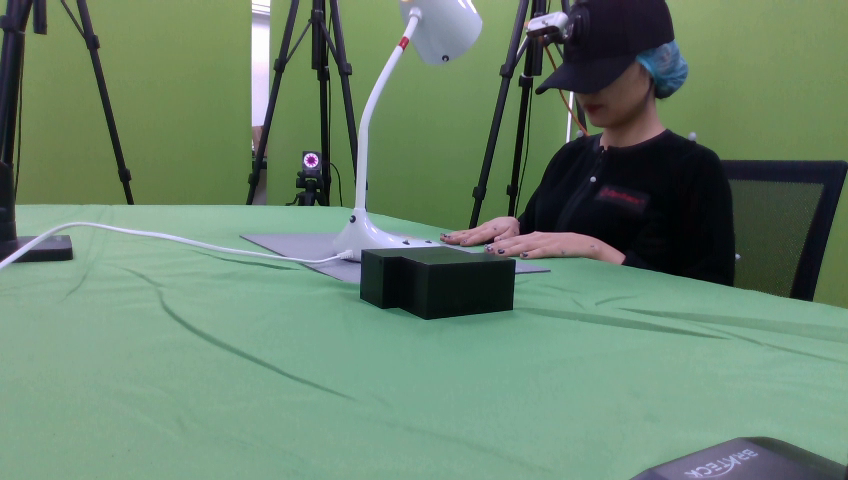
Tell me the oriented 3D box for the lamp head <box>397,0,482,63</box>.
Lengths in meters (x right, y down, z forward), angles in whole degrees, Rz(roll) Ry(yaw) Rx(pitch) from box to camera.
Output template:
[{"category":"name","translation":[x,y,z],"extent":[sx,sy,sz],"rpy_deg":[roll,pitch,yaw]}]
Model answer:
[{"category":"lamp head","translation":[0.011,-0.341,0.899],"extent":[0.112,0.112,0.123],"rpy_deg":[7,-21,37]}]

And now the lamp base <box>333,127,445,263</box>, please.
[{"category":"lamp base","translation":[-0.054,-0.064,0.842],"extent":[0.160,0.180,0.180],"rpy_deg":[6,11,29]}]
